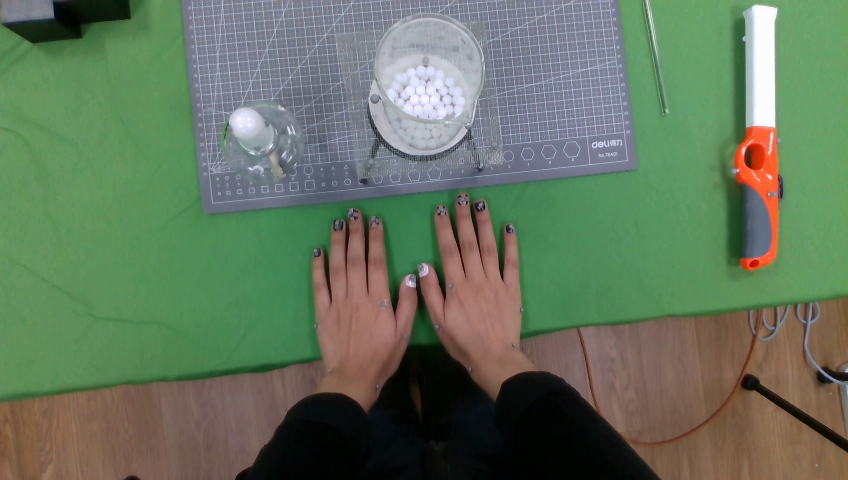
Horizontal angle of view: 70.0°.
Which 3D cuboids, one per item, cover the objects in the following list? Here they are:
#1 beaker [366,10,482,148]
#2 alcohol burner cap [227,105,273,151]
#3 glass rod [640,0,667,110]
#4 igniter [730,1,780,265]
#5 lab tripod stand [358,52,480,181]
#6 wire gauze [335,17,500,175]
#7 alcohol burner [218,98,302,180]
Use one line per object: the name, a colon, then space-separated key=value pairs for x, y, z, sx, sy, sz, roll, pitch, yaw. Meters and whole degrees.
beaker: x=0.001 y=-0.110 z=0.447 sx=0.074 sy=0.100 sz=0.084 roll=-39 pitch=89 yaw=-4
alcohol burner cap: x=-0.153 y=-0.099 z=0.526 sx=0.034 sy=0.048 sz=0.034 roll=0 pitch=84 yaw=-1
glass rod: x=0.237 y=-0.236 z=0.643 sx=0.008 sy=0.008 sz=0.199 roll=-10 pitch=89 yaw=-4
igniter: x=0.349 y=-0.111 z=0.637 sx=0.057 sy=0.025 sz=0.276 roll=2 pitch=88 yaw=-14
lab tripod stand: x=-0.009 y=-0.112 z=0.561 sx=0.148 sy=0.131 sz=0.148 roll=0 pitch=87 yaw=-1
wire gauze: x=-0.005 y=-0.118 z=0.495 sx=0.125 sy=0.011 sz=0.121 roll=-7 pitch=87 yaw=-1
alcohol burner: x=-0.155 y=-0.098 z=0.562 sx=0.078 sy=0.119 sz=0.077 roll=0 pitch=86 yaw=-3
